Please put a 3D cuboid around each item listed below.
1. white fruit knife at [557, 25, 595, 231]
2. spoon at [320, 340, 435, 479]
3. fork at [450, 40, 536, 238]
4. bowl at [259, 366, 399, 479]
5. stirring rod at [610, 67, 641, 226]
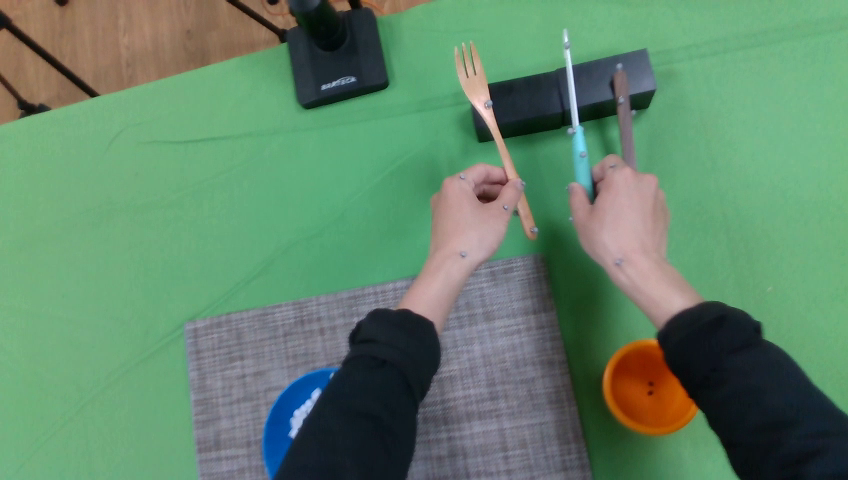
[{"bbox_3d":[0.150,-0.109,0.609,0.016,0.027,0.208,-11,100,1],"label":"white fruit knife"},{"bbox_3d":[-0.046,0.177,0.622,0.041,0.021,0.194,39,107,9],"label":"spoon"},{"bbox_3d":[0.072,-0.098,0.607,0.028,0.018,0.207,-24,96,-13],"label":"fork"},{"bbox_3d":[-0.093,0.213,0.659,0.151,0.077,0.150,-2,79,10],"label":"bowl"},{"bbox_3d":[0.224,-0.102,0.671,0.014,0.006,0.176,-9,98,5],"label":"stirring rod"}]
